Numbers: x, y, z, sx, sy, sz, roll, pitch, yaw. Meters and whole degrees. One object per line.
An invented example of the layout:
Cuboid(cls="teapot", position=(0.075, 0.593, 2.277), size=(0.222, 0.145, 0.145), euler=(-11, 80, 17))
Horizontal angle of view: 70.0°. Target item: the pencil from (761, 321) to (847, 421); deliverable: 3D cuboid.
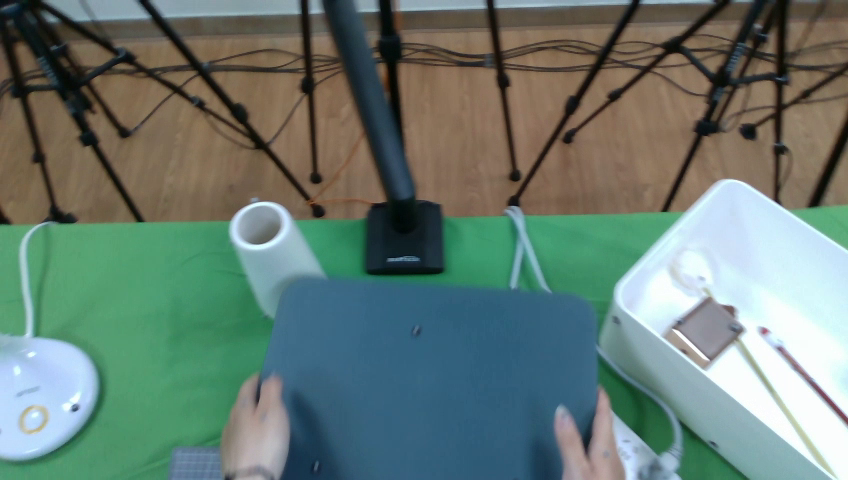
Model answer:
Cuboid(cls="pencil", position=(0.512, 0.186, 0.789), size=(0.012, 0.012, 0.192), euler=(-27, 65, -13))

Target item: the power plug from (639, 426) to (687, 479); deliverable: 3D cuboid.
Cuboid(cls="power plug", position=(0.288, 0.260, 0.719), size=(0.072, 0.053, 0.035), euler=(-26, 59, -18))

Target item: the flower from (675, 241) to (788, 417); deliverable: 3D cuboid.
Cuboid(cls="flower", position=(0.439, 0.161, 0.805), size=(0.044, 0.038, 0.358), euler=(-27, 67, 14))

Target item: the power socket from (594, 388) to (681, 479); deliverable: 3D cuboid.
Cuboid(cls="power socket", position=(0.218, 0.241, 0.758), size=(0.072, 0.033, 0.225), euler=(-36, 65, -18))

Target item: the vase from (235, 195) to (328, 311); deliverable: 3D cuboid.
Cuboid(cls="vase", position=(-0.184, 0.025, 0.798), size=(0.098, 0.201, 0.097), euler=(0, 59, 1))

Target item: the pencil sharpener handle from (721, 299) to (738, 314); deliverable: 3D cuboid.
Cuboid(cls="pencil sharpener handle", position=(0.389, 0.090, 0.774), size=(0.030, 0.068, 0.035), euler=(-34, 59, -16))

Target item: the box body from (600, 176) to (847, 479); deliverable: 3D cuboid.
Cuboid(cls="box body", position=(0.431, 0.133, 0.739), size=(0.254, 0.162, 0.361), euler=(-40, 66, -19))

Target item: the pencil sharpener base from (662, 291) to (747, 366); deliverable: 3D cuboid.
Cuboid(cls="pencil sharpener base", position=(0.348, 0.123, 0.772), size=(0.076, 0.108, 0.061), euler=(-34, 64, -16))

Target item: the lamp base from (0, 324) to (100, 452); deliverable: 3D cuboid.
Cuboid(cls="lamp base", position=(-0.522, 0.151, 0.743), size=(0.161, 0.182, 0.177), euler=(-28, 60, -14))

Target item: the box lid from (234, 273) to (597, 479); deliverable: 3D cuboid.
Cuboid(cls="box lid", position=(-0.002, 0.166, 0.653), size=(0.371, 0.015, 0.261), euler=(3, 64, 8))
